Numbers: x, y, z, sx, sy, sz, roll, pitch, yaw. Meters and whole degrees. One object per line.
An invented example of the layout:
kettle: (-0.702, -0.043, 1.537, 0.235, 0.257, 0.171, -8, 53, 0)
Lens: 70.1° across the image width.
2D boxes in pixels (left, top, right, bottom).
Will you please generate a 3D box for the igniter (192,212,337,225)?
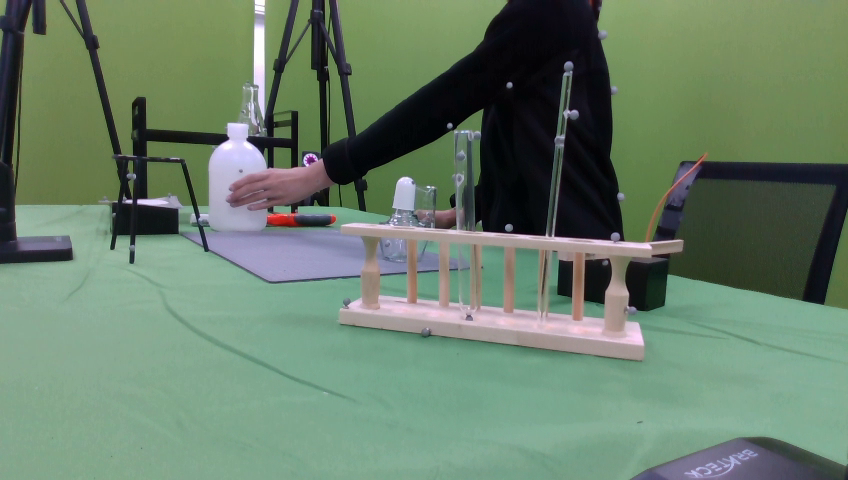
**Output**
igniter: (-0.312, -0.043, 1.203, 0.278, 0.025, 0.057, -1, -5, -25)

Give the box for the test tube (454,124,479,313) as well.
test tube: (0.034, -0.015, 0.476, 0.017, 0.150, 0.017, -2, 9, 1)

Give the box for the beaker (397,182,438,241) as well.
beaker: (-0.011, -0.051, 1.077, 0.074, 0.100, 0.083, -2, 9, -26)

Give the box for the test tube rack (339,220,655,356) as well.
test tube rack: (0.056, 0.032, 0.495, 0.242, 0.085, 0.067, 4, 7, 15)

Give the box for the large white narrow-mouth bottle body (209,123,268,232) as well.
large white narrow-mouth bottle body: (-0.340, -0.115, 1.109, 0.102, 0.194, 0.102, 2, 8, 0)

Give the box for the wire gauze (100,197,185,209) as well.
wire gauze: (-0.469, -0.062, 1.008, 0.126, 0.011, 0.121, -2, 8, -25)

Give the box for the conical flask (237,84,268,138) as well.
conical flask: (-0.402, -0.299, 1.406, 0.075, 0.122, 0.075, 2, 7, 0)

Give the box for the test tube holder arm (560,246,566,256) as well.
test tube holder arm: (0.173, 0.007, 0.612, 0.088, 0.015, 0.010, -3, 8, -29)

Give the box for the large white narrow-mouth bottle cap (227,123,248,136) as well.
large white narrow-mouth bottle cap: (-0.338, -0.200, 1.097, 0.038, 0.024, 0.037, 2, 8, 0)

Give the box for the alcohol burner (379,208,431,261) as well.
alcohol burner: (-0.027, -0.031, 0.838, 0.078, 0.119, 0.078, 0, 6, 0)

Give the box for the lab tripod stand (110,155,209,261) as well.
lab tripod stand: (-0.361, -0.046, 0.806, 0.148, 0.131, 0.148, 2, 5, 0)

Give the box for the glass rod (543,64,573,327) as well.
glass rod: (0.101, -0.028, 0.453, 0.008, 0.199, 0.008, 2, 14, 0)

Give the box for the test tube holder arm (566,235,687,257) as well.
test tube holder arm: (0.215, 0.006, 0.630, 0.179, 0.015, 0.013, -3, 9, -31)

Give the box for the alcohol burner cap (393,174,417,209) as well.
alcohol burner cap: (-0.025, -0.067, 0.834, 0.034, 0.048, 0.034, 8, 7, -1)
